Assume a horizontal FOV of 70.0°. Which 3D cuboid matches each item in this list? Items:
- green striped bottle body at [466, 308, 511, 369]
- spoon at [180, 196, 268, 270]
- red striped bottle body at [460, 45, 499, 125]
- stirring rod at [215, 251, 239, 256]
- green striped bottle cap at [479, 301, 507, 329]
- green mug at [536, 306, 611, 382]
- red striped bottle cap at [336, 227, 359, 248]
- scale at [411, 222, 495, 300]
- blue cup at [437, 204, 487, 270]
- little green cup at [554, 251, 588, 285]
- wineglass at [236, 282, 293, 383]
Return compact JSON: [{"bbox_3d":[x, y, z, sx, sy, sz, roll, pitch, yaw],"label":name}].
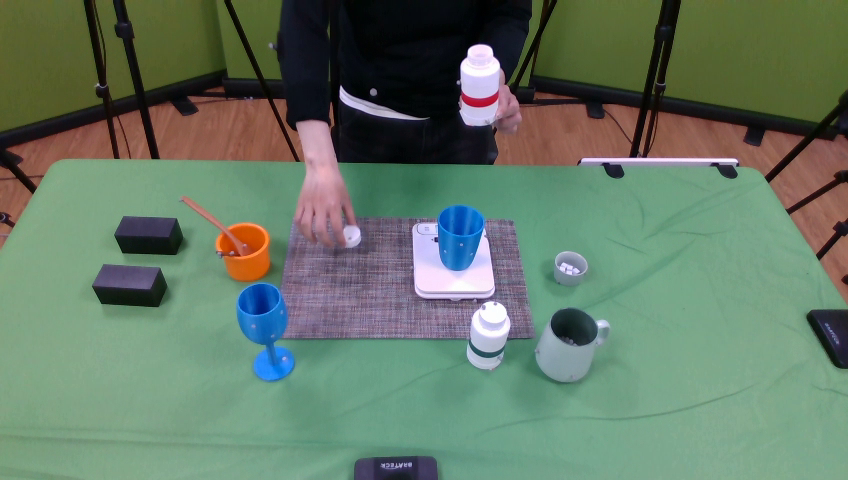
[{"bbox_3d":[0.106,0.154,0.988,0.063,0.120,0.063,2,46,-2],"label":"green striped bottle body"},{"bbox_3d":[-0.360,-0.014,1.094,0.021,0.194,0.041,-28,26,31],"label":"spoon"},{"bbox_3d":[0.091,-0.251,0.982,0.063,0.120,0.062,-3,48,3],"label":"red striped bottle body"},{"bbox_3d":[-0.339,0.024,1.059,0.014,0.176,0.006,16,86,-6],"label":"stirring rod"},{"bbox_3d":[0.109,0.118,0.950,0.044,0.020,0.044,2,47,-2],"label":"green striped bottle cap"},{"bbox_3d":[0.250,0.167,0.996,0.125,0.105,0.092,-15,49,-19],"label":"green mug"},{"bbox_3d":[-0.144,-0.006,1.137,0.044,0.018,0.044,2,43,-2],"label":"red striped bottle cap"},{"bbox_3d":[0.052,0.031,1.158,0.149,0.032,0.199,1,46,-4],"label":"scale"},{"bbox_3d":[0.062,0.000,1.098,0.093,0.101,0.092,2,44,-2],"label":"blue cup"},{"bbox_3d":[0.277,0.055,1.151,0.061,0.039,0.061,1,46,-1],"label":"little green cup"},{"bbox_3d":[-0.243,0.143,0.934,0.074,0.173,0.073,2,46,-2],"label":"wineglass"}]
